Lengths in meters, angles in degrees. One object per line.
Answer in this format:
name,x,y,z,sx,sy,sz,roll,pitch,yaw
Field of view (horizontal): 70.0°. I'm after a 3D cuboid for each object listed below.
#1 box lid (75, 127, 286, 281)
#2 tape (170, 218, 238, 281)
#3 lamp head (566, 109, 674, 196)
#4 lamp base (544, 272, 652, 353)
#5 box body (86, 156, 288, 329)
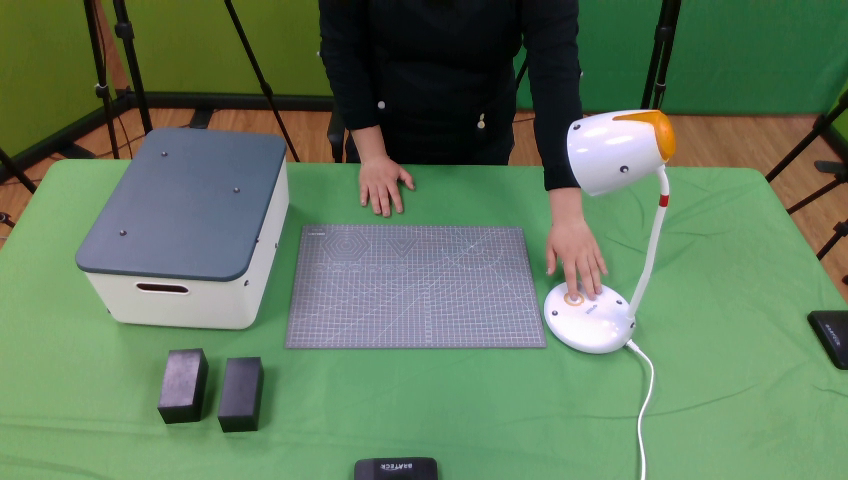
box lid,-0.398,-0.075,1.039,0.263,0.015,0.369,4,45,-1
tape,-0.406,0.017,1.121,0.117,0.053,0.116,2,46,-2
lamp head,0.272,-0.123,0.818,0.122,0.113,0.112,-9,35,37
lamp base,0.309,0.086,1.029,0.178,0.181,0.160,32,52,21
box body,-0.401,-0.025,1.094,0.254,0.161,0.362,3,46,-1
